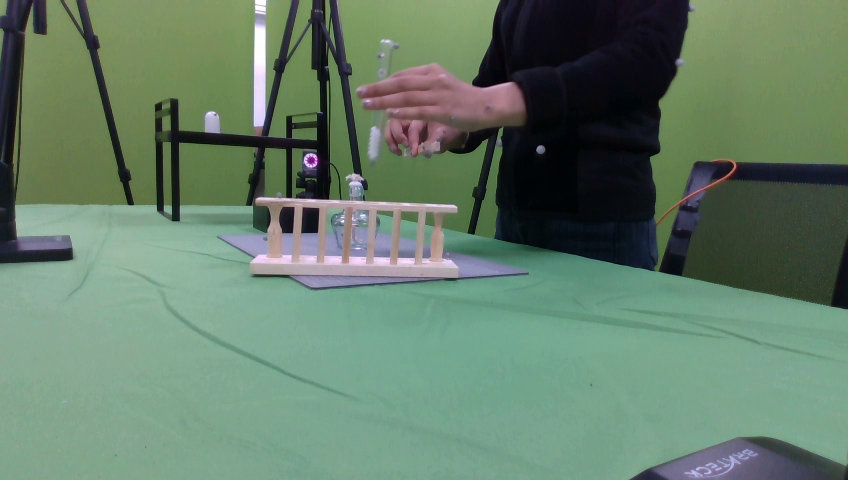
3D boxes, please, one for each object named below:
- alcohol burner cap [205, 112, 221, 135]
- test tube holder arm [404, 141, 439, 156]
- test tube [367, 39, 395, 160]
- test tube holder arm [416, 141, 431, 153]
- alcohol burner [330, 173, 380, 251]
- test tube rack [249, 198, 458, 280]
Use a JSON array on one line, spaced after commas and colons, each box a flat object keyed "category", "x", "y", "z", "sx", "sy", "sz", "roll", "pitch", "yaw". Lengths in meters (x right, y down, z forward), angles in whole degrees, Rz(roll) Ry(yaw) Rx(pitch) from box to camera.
[{"category": "alcohol burner cap", "x": -0.443, "y": -0.245, "z": 1.270, "sx": 0.034, "sy": 0.048, "sz": 0.034, "roll": 3, "pitch": 8, "yaw": 0}, {"category": "test tube holder arm", "x": -0.006, "y": -0.143, "z": 0.957, "sx": 0.013, "sy": 0.015, "sz": 0.178, "roll": 5, "pitch": 4, "yaw": -15}, {"category": "test tube", "x": -0.055, "y": -0.177, "z": 0.767, "sx": 0.017, "sy": 0.150, "sz": 0.017, "roll": 9, "pitch": 11, "yaw": -1}, {"category": "test tube holder arm", "x": -0.002, "y": -0.140, "z": 0.912, "sx": 0.010, "sy": 0.015, "sz": 0.087, "roll": 5, "pitch": 4, "yaw": -9}, {"category": "alcohol burner", "x": -0.107, "y": -0.044, "z": 0.938, "sx": 0.078, "sy": 0.119, "sz": 0.078, "roll": 1, "pitch": 6, "yaw": 0}, {"category": "test tube rack", "x": -0.082, "y": -0.002, "z": 0.732, "sx": 0.243, "sy": 0.085, "sz": 0.066, "roll": 2, "pitch": 8, "yaw": -7}]
